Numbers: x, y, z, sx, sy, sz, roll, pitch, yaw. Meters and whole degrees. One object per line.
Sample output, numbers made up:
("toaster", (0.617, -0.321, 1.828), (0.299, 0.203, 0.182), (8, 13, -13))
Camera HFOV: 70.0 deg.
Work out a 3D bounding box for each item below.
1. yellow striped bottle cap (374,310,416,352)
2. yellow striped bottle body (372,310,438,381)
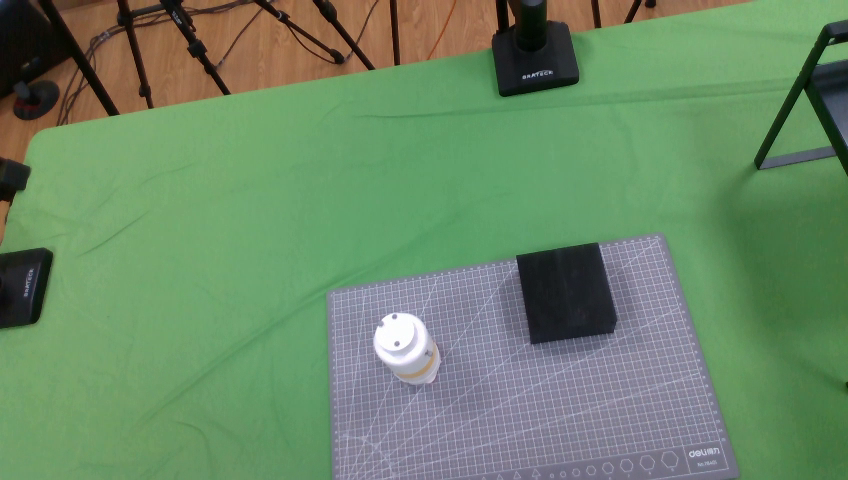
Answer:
("yellow striped bottle cap", (-0.032, 0.099, 0.662), (0.044, 0.019, 0.044), (-5, 64, 10))
("yellow striped bottle body", (-0.023, 0.122, 0.708), (0.063, 0.121, 0.062), (-4, 64, 9))
